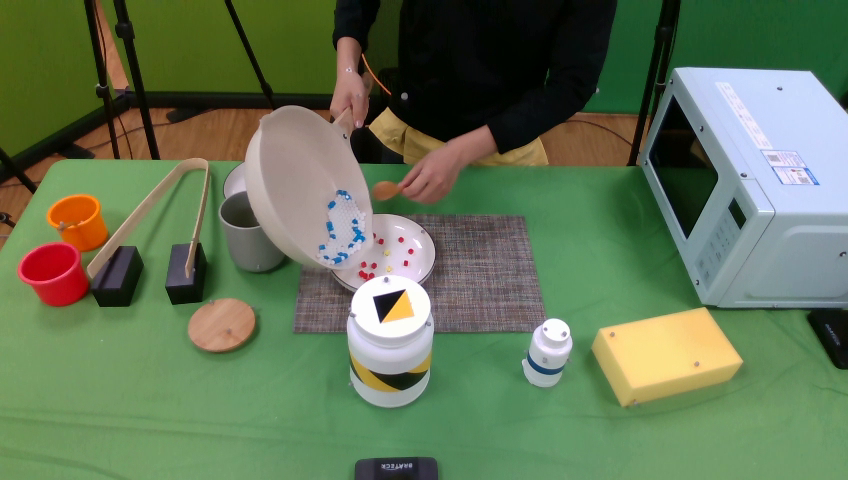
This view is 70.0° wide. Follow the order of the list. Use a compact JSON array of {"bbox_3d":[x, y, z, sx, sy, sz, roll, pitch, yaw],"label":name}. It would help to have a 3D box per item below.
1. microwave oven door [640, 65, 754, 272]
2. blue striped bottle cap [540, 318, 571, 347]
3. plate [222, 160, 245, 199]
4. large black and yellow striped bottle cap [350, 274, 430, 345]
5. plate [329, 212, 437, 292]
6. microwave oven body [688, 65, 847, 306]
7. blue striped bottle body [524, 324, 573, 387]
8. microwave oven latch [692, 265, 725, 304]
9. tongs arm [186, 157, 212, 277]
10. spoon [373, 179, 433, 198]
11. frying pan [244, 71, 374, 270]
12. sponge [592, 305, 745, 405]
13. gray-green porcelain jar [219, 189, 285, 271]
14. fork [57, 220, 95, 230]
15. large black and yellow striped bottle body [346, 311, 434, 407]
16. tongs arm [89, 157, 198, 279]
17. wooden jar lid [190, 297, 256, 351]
[{"bbox_3d":[0.523,-0.147,1.193,0.039,0.245,0.353,0,47,-3],"label":"microwave oven door"},{"bbox_3d":[0.203,0.142,0.933,0.044,0.021,0.044,3,49,-3],"label":"blue striped bottle cap"},{"bbox_3d":[-0.310,-0.106,1.263,0.208,0.039,0.206,2,47,-2],"label":"plate"},{"bbox_3d":[-0.048,0.097,0.868,0.115,0.019,0.114,3,48,-3],"label":"large black and yellow striped bottle cap"},{"bbox_3d":[-0.080,0.030,1.143,0.209,0.038,0.208,2,46,-2],"label":"plate"},{"bbox_3d":[0.669,-0.111,1.176,0.326,0.261,0.439,0,46,-3],"label":"microwave oven body"},{"bbox_3d":[0.200,0.178,0.970,0.063,0.121,0.062,2,46,-2],"label":"blue striped bottle body"},{"bbox_3d":[0.522,0.081,1.116,0.030,0.029,0.078,1,46,-2],"label":"microwave oven latch"},{"bbox_3d":[-0.445,-0.058,1.168,0.051,0.026,0.382,-5,37,-6],"label":"tongs arm"},{"bbox_3d":[-0.034,-0.102,1.159,0.021,0.042,0.194,42,25,18],"label":"spoon"},{"bbox_3d":[-0.170,-0.160,1.104,0.102,0.308,0.485,-11,42,33],"label":"frying pan"},{"bbox_3d":[0.405,0.190,1.014,0.207,0.061,0.117,-10,48,-12],"label":"sponge"},{"bbox_3d":[-0.310,-0.014,1.113,0.106,0.127,0.105,2,46,-2],"label":"gray-green porcelain jar"},{"bbox_3d":[-0.624,-0.027,1.086,0.028,0.207,0.018,-3,92,-17],"label":"fork"},{"bbox_3d":[-0.052,0.157,0.929,0.131,0.185,0.130,2,47,-2],"label":"large black and yellow striped bottle body"},{"bbox_3d":[-0.529,-0.057,1.164,0.028,0.028,0.385,1,36,8],"label":"tongs arm"},{"bbox_3d":[-0.342,0.145,1.033,0.108,0.021,0.107,2,45,-2],"label":"wooden jar lid"}]
